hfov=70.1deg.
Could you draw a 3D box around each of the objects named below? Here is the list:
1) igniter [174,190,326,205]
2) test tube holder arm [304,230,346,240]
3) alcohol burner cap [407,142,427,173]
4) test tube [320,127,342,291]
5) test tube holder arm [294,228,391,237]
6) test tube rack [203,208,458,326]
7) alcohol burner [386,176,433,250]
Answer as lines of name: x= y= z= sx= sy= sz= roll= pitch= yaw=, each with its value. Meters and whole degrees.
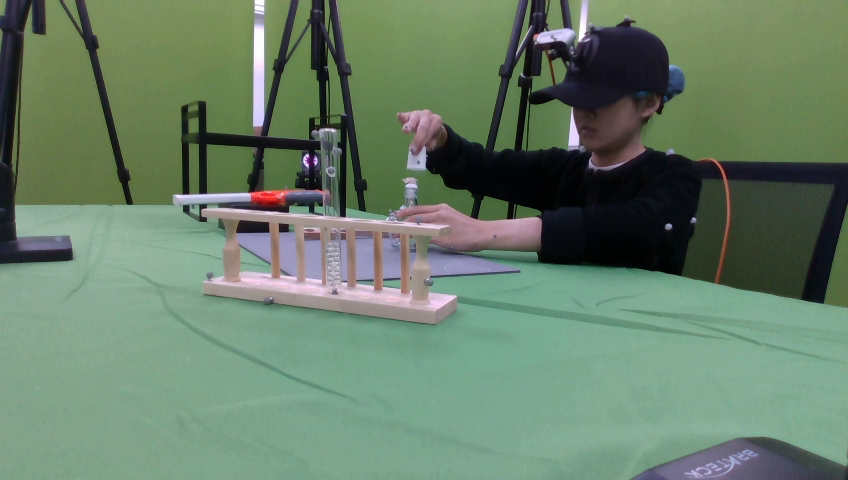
igniter: x=-0.317 y=-0.079 z=1.132 sx=0.278 sy=0.025 sz=0.057 roll=-4 pitch=12 yaw=-32
test tube holder arm: x=-0.174 y=-0.009 z=1.027 sx=0.088 sy=0.015 sz=0.010 roll=0 pitch=43 yaw=-31
alcohol burner cap: x=-0.010 y=-0.134 z=0.971 sx=0.034 sy=0.048 sz=0.034 roll=3 pitch=-1 yaw=0
test tube: x=-0.084 y=-0.027 z=0.554 sx=0.017 sy=0.150 sz=0.017 roll=-1 pitch=6 yaw=0
test tube holder arm: x=-0.138 y=-0.013 z=1.054 sx=0.179 sy=0.015 sz=0.013 roll=-1 pitch=43 yaw=-32
test tube rack: x=-0.090 y=0.019 z=0.579 sx=0.241 sy=0.085 sz=0.067 roll=5 pitch=7 yaw=19
alcohol burner: x=-0.022 y=-0.044 z=0.975 sx=0.078 sy=0.119 sz=0.078 roll=5 pitch=8 yaw=0
